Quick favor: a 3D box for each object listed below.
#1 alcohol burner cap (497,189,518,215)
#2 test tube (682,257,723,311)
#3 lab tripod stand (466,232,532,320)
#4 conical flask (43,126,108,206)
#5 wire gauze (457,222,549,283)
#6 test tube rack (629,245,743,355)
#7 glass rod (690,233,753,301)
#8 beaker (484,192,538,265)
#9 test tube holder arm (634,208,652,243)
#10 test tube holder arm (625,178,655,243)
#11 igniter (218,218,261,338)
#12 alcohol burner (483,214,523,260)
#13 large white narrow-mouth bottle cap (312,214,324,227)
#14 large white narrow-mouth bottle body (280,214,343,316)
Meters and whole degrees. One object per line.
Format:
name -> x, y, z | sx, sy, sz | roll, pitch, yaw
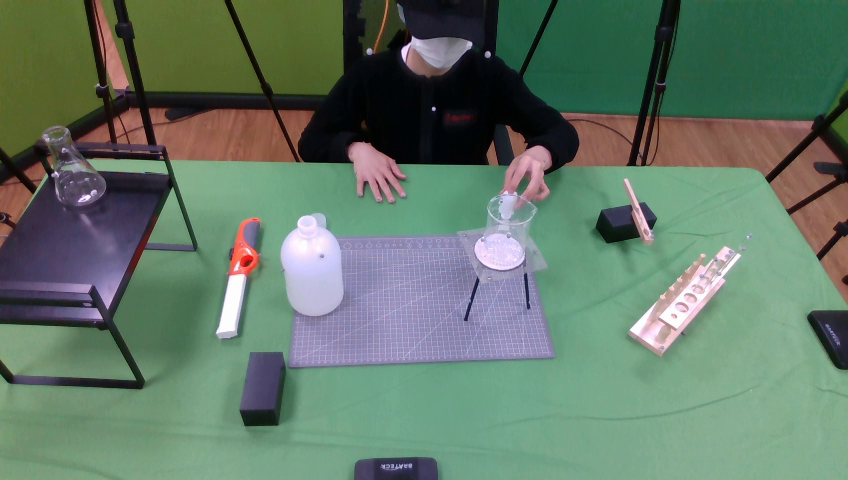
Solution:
alcohol burner cap -> 0.154, -0.072, 1.096 | 0.034, 0.048, 0.033 | 6, 43, -5
test tube -> 0.474, 0.080, 1.037 | 0.017, 0.151, 0.017 | 1, 51, -1
lab tripod stand -> 0.125, 0.059, 1.065 | 0.148, 0.132, 0.147 | 1, 45, 0
conical flask -> -0.555, -0.119, 0.953 | 0.075, 0.122, 0.075 | 2, 46, -2
wire gauze -> 0.131, 0.016, 1.017 | 0.121, 0.011, 0.124 | -10, 44, -16
test tube rack -> 0.474, 0.095, 1.091 | 0.242, 0.085, 0.066 | -34, 56, -31
glass rod -> 0.507, 0.053, 1.041 | 0.008, 0.200, 0.008 | 5, 51, -6
beaker -> 0.137, -0.016, 0.980 | 0.084, 0.101, 0.073 | -6, 45, -9
test tube holder arm -> 0.428, -0.030, 1.189 | 0.010, 0.015, 0.087 | 2, 47, -3
test tube holder arm -> 0.433, -0.062, 1.220 | 0.013, 0.015, 0.177 | 2, 47, -3
igniter -> -0.336, 0.060, 1.111 | 0.057, 0.025, 0.274 | -8, 46, 4
alcohol burner -> 0.152, -0.018, 1.156 | 0.078, 0.120, 0.077 | 0, 47, 0
large white narrow-mouth bottle cap -> -0.219, -0.033, 1.214 | 0.038, 0.024, 0.037 | 2, 46, -2
large white narrow-mouth bottle body -> -0.190, 0.035, 1.025 | 0.102, 0.195, 0.101 | 2, 46, -2
